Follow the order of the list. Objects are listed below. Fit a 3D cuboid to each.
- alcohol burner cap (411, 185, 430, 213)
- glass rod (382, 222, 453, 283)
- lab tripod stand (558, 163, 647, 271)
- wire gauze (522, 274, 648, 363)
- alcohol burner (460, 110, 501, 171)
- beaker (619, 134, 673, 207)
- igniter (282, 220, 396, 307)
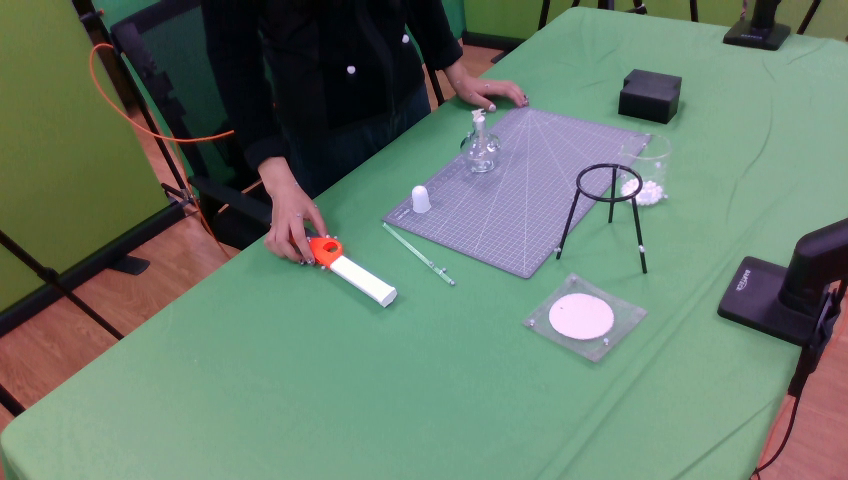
[{"bbox_3d":[-0.008,-0.074,1.050,0.034,0.048,0.033,-4,40,4],"label":"alcohol burner cap"},{"bbox_3d":[-0.014,0.016,0.976,0.008,0.008,0.198,-30,44,-22],"label":"glass rod"},{"bbox_3d":[0.271,-0.034,0.885,0.148,0.132,0.147,-4,40,4],"label":"lab tripod stand"},{"bbox_3d":[0.220,0.105,0.828,0.125,0.011,0.120,-35,47,-30],"label":"wire gauze"},{"bbox_3d":[0.103,-0.186,1.105,0.078,0.119,0.077,-4,42,4],"label":"alcohol burner"},{"bbox_3d":[0.357,-0.111,0.986,0.084,0.101,0.073,-10,40,1],"label":"beaker"},{"bbox_3d":[-0.145,0.031,0.966,0.057,0.025,0.274,-41,49,-23],"label":"igniter"}]
